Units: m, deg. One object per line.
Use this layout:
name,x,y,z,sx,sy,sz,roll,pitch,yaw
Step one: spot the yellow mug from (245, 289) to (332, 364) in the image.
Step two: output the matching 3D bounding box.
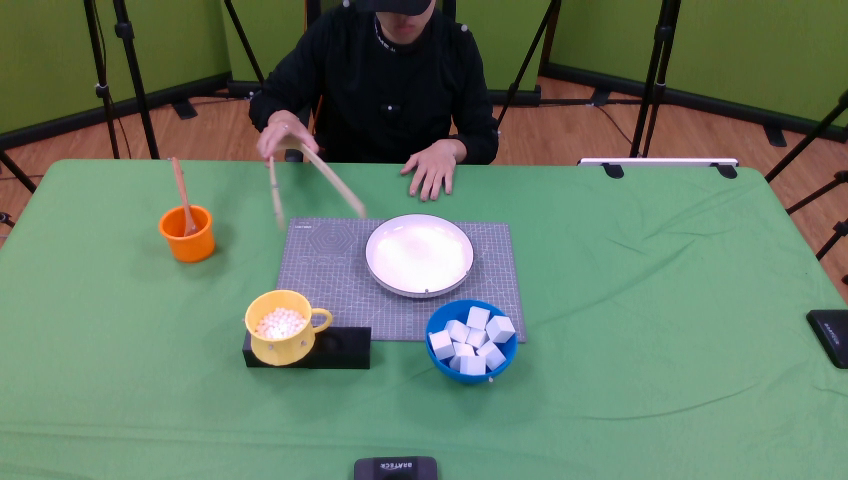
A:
yellow mug,-0.210,0.133,0.954,0.131,0.064,0.099,-9,48,-14

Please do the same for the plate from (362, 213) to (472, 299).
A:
plate,-0.014,0.034,1.150,0.208,0.039,0.206,3,46,-2

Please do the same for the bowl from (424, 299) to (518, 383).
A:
bowl,0.072,0.179,0.993,0.151,0.077,0.150,3,46,-3

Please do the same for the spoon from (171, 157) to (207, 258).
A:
spoon,-0.444,-0.061,1.133,0.042,0.194,0.021,-12,4,-19

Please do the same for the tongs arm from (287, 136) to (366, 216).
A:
tongs arm,-0.188,-0.129,1.135,0.028,0.028,0.385,-20,33,-20

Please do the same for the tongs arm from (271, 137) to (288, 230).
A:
tongs arm,-0.257,-0.116,1.113,0.051,0.026,0.382,-11,30,-13
